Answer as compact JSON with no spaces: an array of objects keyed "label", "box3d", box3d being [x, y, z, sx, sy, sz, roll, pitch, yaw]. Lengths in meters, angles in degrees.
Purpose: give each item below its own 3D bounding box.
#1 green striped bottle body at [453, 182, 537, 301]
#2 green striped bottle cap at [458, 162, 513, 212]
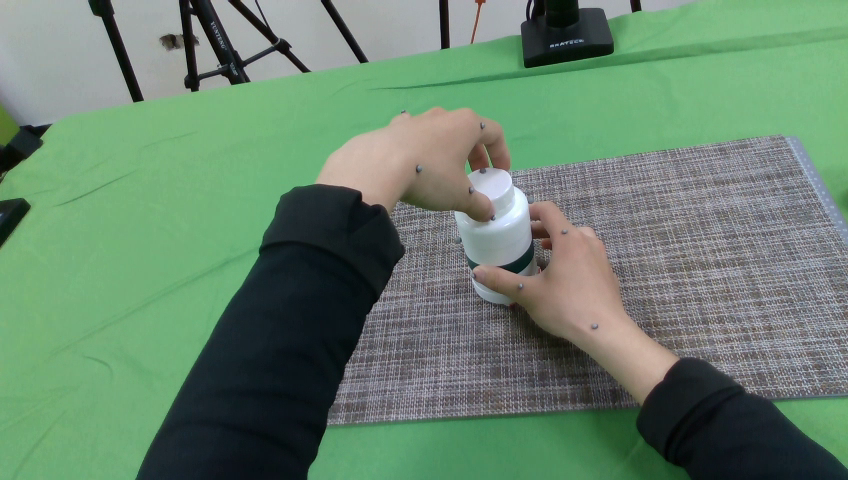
[{"label":"green striped bottle body","box3d":[0.062,-0.006,0.532,0.063,0.120,0.062,-9,45,10]},{"label":"green striped bottle cap","box3d":[0.050,-0.042,0.496,0.044,0.020,0.044,-7,52,9]}]
